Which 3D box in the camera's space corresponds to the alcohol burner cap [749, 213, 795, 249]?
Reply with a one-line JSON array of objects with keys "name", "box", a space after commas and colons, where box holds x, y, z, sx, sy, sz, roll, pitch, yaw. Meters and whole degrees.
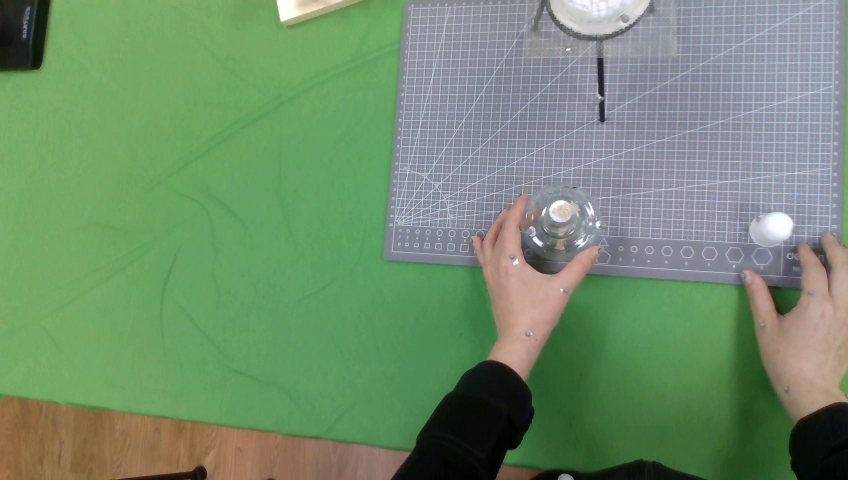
[{"name": "alcohol burner cap", "box": [0.326, -0.010, 0.565, 0.034, 0.048, 0.034, -2, 83, 14]}]

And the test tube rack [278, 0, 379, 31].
[{"name": "test tube rack", "box": [-0.069, -0.319, 0.678, 0.242, 0.085, 0.066, -14, 80, 12]}]

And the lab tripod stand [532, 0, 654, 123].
[{"name": "lab tripod stand", "box": [0.166, -0.201, 0.578, 0.148, 0.132, 0.148, -1, 84, 13]}]

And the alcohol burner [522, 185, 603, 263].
[{"name": "alcohol burner", "box": [0.131, -0.017, 0.577, 0.078, 0.119, 0.077, -1, 83, 13]}]

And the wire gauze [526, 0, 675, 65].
[{"name": "wire gauze", "box": [0.150, -0.209, 0.515, 0.125, 0.011, 0.121, 3, 88, 12]}]

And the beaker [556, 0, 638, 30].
[{"name": "beaker", "box": [0.133, -0.216, 0.470, 0.083, 0.101, 0.074, 17, 89, 16]}]
